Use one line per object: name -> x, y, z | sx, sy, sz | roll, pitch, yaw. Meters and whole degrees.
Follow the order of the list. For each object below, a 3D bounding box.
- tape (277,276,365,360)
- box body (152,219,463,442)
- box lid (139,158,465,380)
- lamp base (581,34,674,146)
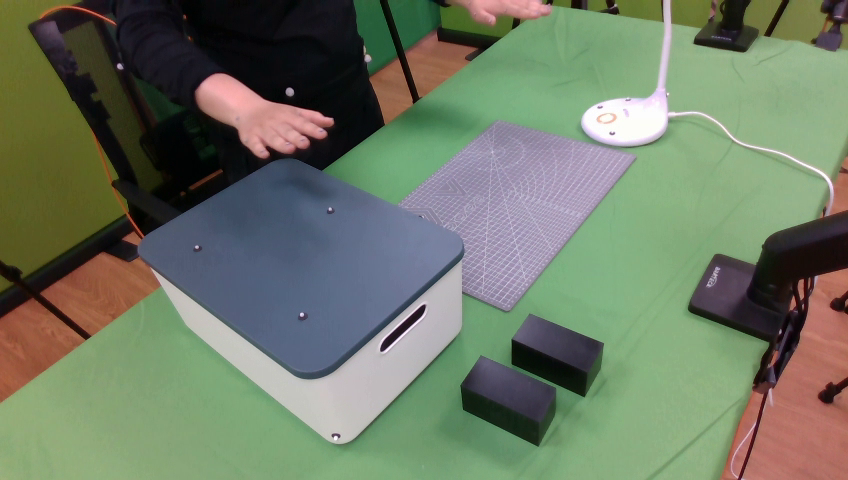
tape -> -0.140, 0.106, 0.832 | 0.117, 0.053, 0.116 | -4, 41, 4
box body -> -0.152, 0.064, 0.807 | 0.361, 0.161, 0.255 | 26, 51, 33
box lid -> -0.158, 0.010, 0.758 | 0.368, 0.015, 0.264 | 26, 50, 33
lamp base -> 0.392, -0.291, 1.129 | 0.180, 0.181, 0.159 | -11, 41, -8
